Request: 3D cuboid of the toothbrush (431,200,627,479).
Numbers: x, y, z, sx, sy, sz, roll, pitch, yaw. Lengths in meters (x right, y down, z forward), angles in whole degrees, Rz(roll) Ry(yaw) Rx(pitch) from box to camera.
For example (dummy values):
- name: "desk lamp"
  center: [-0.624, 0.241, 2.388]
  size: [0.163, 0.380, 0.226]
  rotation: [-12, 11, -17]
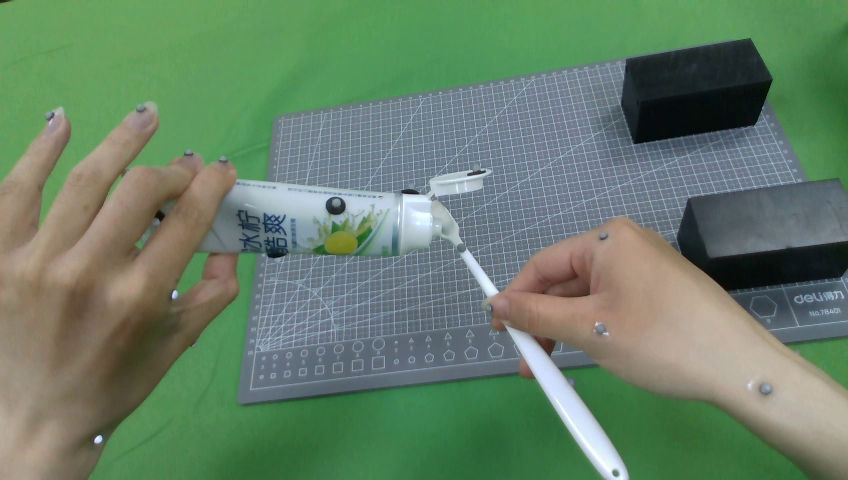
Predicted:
- name: "toothbrush"
  center: [0.050, 0.047, 0.324]
  size: [0.014, 0.017, 0.180]
  rotation: [-29, 65, -8]

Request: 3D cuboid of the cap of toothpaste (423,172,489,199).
- name: "cap of toothpaste"
  center: [0.018, -0.030, 0.330]
  size: [0.037, 0.037, 0.011]
  rotation: [-11, 100, 2]

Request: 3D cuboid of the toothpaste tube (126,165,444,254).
- name: "toothpaste tube"
  center: [-0.071, -0.013, 0.328]
  size: [0.165, 0.055, 0.034]
  rotation: [1, 33, -4]
